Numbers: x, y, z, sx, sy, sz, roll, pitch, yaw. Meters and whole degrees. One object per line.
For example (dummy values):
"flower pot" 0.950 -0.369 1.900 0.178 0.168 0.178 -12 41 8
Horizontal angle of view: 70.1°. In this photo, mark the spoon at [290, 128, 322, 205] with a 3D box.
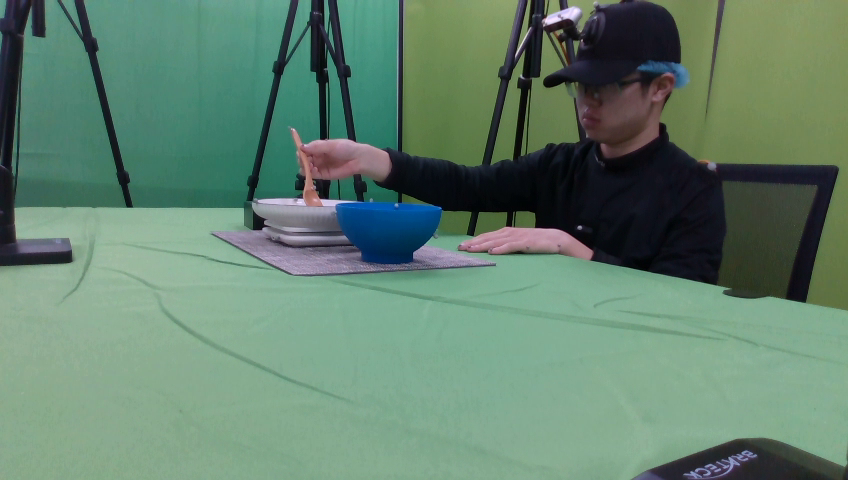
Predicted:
"spoon" -0.208 -0.125 1.061 0.021 0.193 0.042 -35 -31 32

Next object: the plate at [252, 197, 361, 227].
"plate" -0.179 -0.047 1.012 0.209 0.038 0.209 2 6 0

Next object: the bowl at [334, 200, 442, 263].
"bowl" -0.051 -0.012 0.849 0.151 0.077 0.151 2 7 0

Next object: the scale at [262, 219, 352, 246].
"scale" -0.160 -0.015 1.027 0.202 0.031 0.148 -2 8 -32
